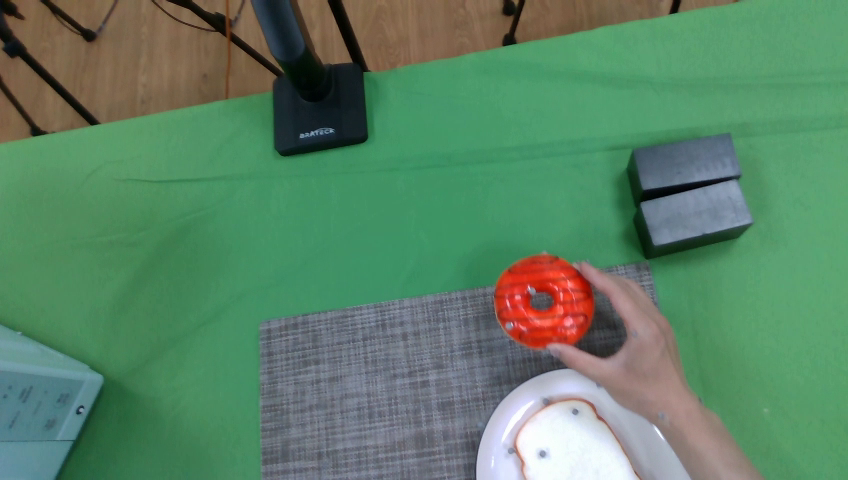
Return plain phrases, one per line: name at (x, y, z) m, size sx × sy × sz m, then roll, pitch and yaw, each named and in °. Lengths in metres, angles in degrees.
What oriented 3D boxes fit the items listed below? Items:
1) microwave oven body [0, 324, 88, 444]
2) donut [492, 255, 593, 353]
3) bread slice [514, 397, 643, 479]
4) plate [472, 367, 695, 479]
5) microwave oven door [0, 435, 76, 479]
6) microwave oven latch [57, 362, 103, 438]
microwave oven body at (-0.617, 0.270, 0.602) m, size 0.324 × 0.262 × 0.440 m, roll 18°, pitch 78°, yaw 15°
donut at (0.116, 0.063, 0.596) m, size 0.099 × 0.048 × 0.098 m, roll -4°, pitch 70°, yaw 11°
bread slice at (0.149, 0.224, 0.597) m, size 0.105 × 0.019 × 0.130 m, roll -29°, pitch 71°, yaw 0°
plate at (0.152, 0.231, 0.594) m, size 0.207 × 0.039 × 0.206 m, roll -3°, pitch 73°, yaw 9°
microwave oven door at (-0.499, 0.351, 0.551) m, size 0.039 × 0.245 × 0.354 m, roll 18°, pitch 77°, yaw 16°
microwave oven latch at (-0.399, 0.183, 0.693) m, size 0.030 × 0.030 × 0.079 m, roll 21°, pitch 78°, yaw 15°
